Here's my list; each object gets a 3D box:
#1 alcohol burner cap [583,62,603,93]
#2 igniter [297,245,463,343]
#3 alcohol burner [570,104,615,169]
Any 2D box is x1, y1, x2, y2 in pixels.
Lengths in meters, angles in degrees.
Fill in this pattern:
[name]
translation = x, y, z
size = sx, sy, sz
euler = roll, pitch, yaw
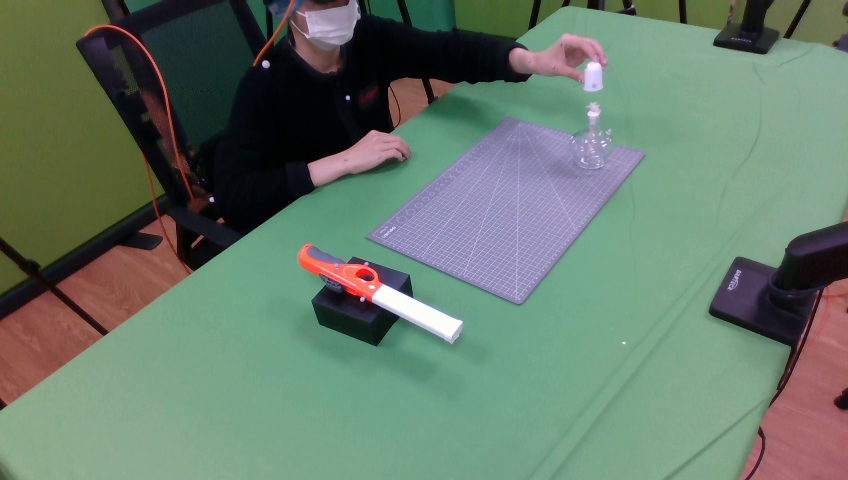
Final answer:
[alcohol burner cap]
translation = 0.283, -0.272, 1.012
size = 0.034, 0.048, 0.033
euler = -7, 34, 5
[igniter]
translation = -0.070, 0.068, 0.827
size = 0.274, 0.025, 0.057
euler = 23, 50, 25
[alcohol burner]
translation = 0.299, -0.187, 1.071
size = 0.078, 0.119, 0.077
euler = -6, 41, 6
